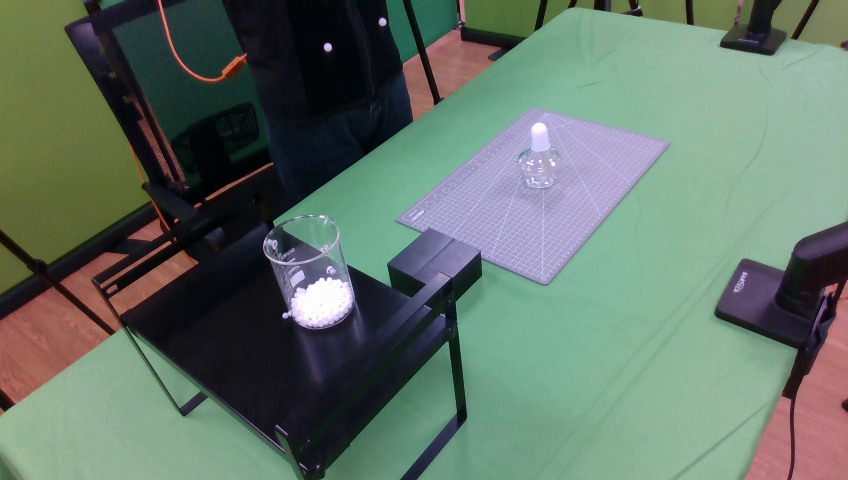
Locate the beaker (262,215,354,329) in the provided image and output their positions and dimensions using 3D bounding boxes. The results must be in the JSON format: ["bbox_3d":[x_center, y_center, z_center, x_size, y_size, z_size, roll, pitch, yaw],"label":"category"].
[{"bbox_3d":[-0.112,0.034,0.616,0.073,0.101,0.084,13,44,23],"label":"beaker"}]

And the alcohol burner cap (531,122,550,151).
[{"bbox_3d":[0.196,-0.178,1.024,0.034,0.048,0.033,-8,40,7],"label":"alcohol burner cap"}]

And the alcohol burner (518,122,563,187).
[{"bbox_3d":[0.201,-0.151,1.046,0.078,0.119,0.077,-6,42,6],"label":"alcohol burner"}]
